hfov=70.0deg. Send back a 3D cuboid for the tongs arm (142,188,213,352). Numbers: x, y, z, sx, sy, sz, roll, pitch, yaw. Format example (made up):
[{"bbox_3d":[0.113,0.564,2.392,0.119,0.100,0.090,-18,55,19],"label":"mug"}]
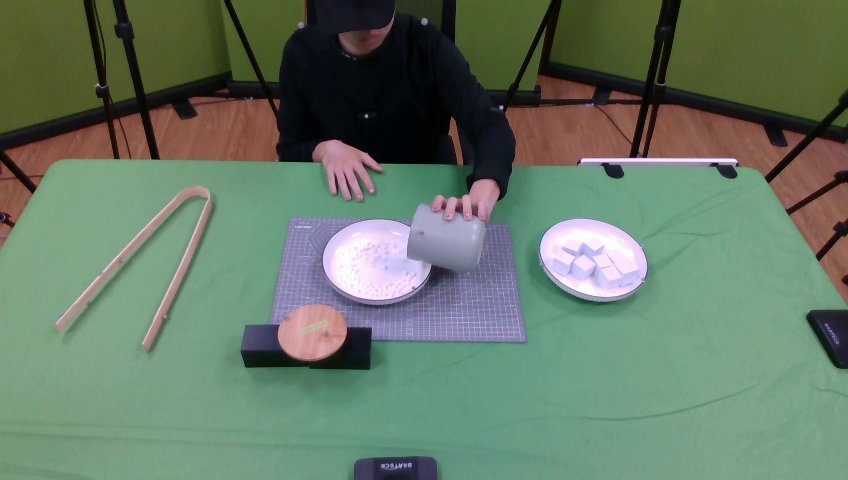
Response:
[{"bbox_3d":[-0.450,0.040,1.122,0.028,0.028,0.385,2,46,1],"label":"tongs arm"}]

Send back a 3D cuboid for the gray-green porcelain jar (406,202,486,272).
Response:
[{"bbox_3d":[0.042,-0.002,1.087,0.126,0.106,0.105,14,47,7],"label":"gray-green porcelain jar"}]

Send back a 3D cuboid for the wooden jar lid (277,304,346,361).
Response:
[{"bbox_3d":[-0.179,0.150,0.972,0.108,0.021,0.107,2,45,-2],"label":"wooden jar lid"}]

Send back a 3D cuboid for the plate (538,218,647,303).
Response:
[{"bbox_3d":[0.322,0.043,1.171,0.208,0.039,0.206,2,46,-2],"label":"plate"}]

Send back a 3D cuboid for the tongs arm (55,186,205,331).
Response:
[{"bbox_3d":[-0.530,0.022,1.125,0.051,0.026,0.383,15,46,8],"label":"tongs arm"}]

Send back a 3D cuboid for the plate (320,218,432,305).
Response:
[{"bbox_3d":[-0.089,0.044,1.134,0.209,0.038,0.208,2,46,-2],"label":"plate"}]
